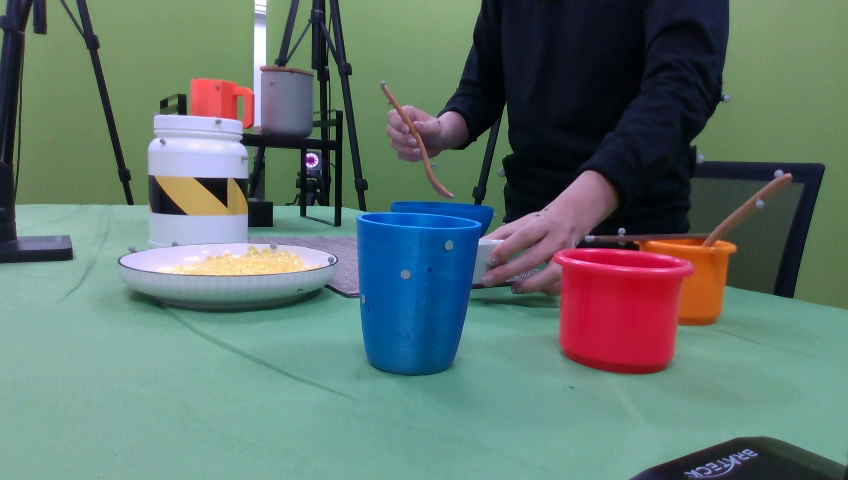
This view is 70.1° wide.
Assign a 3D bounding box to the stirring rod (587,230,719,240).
[{"bbox_3d":[0.226,-0.005,0.587,0.177,0.006,0.014,-2,10,-29],"label":"stirring rod"}]

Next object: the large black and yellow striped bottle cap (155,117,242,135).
[{"bbox_3d":[-0.313,-0.159,0.845,0.115,0.019,0.115,3,9,0],"label":"large black and yellow striped bottle cap"}]

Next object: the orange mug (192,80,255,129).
[{"bbox_3d":[-0.389,-0.257,1.172,0.126,0.100,0.083,-1,6,9],"label":"orange mug"}]

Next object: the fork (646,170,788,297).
[{"bbox_3d":[0.256,0.004,0.543,0.028,0.018,0.207,3,-36,-9],"label":"fork"}]

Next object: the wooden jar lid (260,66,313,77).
[{"bbox_3d":[-0.283,-0.339,1.244,0.108,0.020,0.108,6,9,-1],"label":"wooden jar lid"}]

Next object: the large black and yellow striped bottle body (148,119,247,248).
[{"bbox_3d":[-0.318,-0.076,0.855,0.131,0.184,0.130,2,7,0],"label":"large black and yellow striped bottle body"}]

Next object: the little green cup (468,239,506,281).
[{"bbox_3d":[0.054,0.020,0.615,0.061,0.038,0.061,-1,5,0],"label":"little green cup"}]

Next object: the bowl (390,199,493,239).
[{"bbox_3d":[0.023,-0.016,0.874,0.151,0.077,0.151,3,7,0],"label":"bowl"}]

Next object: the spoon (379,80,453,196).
[{"bbox_3d":[-0.011,-0.145,0.870,0.021,0.194,0.041,-26,12,10],"label":"spoon"}]

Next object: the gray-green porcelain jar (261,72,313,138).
[{"bbox_3d":[-0.284,-0.276,1.253,0.106,0.126,0.106,2,8,0],"label":"gray-green porcelain jar"}]

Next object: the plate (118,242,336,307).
[{"bbox_3d":[-0.194,0.033,0.615,0.209,0.038,0.209,2,7,0],"label":"plate"}]

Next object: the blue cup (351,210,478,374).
[{"bbox_3d":[-0.009,0.034,0.414,0.093,0.100,0.092,4,8,0],"label":"blue cup"}]
